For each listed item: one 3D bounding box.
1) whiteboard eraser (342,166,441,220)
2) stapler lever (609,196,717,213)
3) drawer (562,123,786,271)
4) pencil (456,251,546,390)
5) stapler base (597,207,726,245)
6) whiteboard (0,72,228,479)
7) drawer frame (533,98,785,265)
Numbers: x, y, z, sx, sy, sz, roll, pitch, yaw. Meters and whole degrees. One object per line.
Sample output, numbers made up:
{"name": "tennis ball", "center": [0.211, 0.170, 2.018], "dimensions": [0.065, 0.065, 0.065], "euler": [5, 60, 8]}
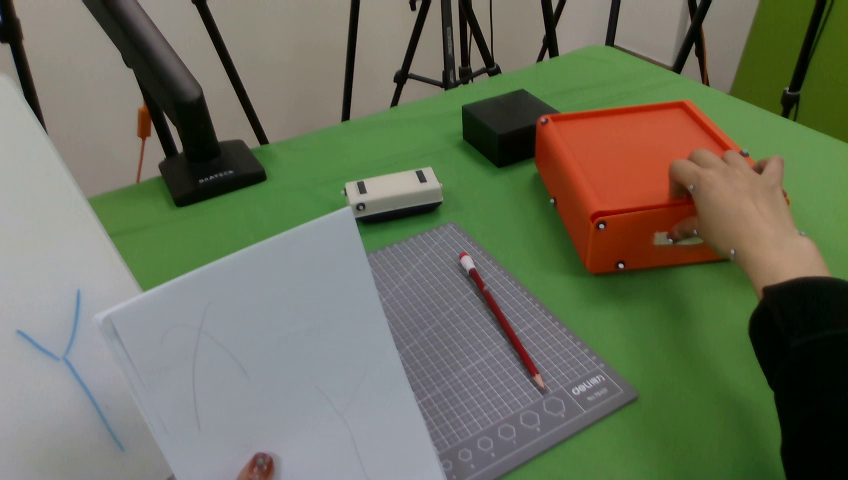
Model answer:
{"name": "whiteboard eraser", "center": [-0.040, -0.054, 0.728], "dimensions": [0.113, 0.042, 0.055], "euler": [-11, 40, -9]}
{"name": "stapler lever", "center": [0.253, -0.037, 0.631], "dimensions": [0.118, 0.040, 0.026], "euler": [-4, 41, 3]}
{"name": "drawer", "center": [0.248, -0.064, 0.681], "dimensions": [0.194, 0.074, 0.209], "euler": [-7, 37, -2]}
{"name": "pencil", "center": [0.070, 0.070, 0.577], "dimensions": [0.012, 0.012, 0.192], "euler": [-15, 40, -13]}
{"name": "stapler base", "center": [0.253, -0.018, 0.645], "dimensions": [0.130, 0.024, 0.041], "euler": [-2, 41, 1]}
{"name": "whiteboard", "center": [-0.324, 0.075, 0.418], "dimensions": [0.143, 0.308, 0.217], "euler": [6, 35, 45]}
{"name": "drawer frame", "center": [0.247, -0.073, 0.689], "dimensions": [0.202, 0.083, 0.211], "euler": [-8, 37, -3]}
